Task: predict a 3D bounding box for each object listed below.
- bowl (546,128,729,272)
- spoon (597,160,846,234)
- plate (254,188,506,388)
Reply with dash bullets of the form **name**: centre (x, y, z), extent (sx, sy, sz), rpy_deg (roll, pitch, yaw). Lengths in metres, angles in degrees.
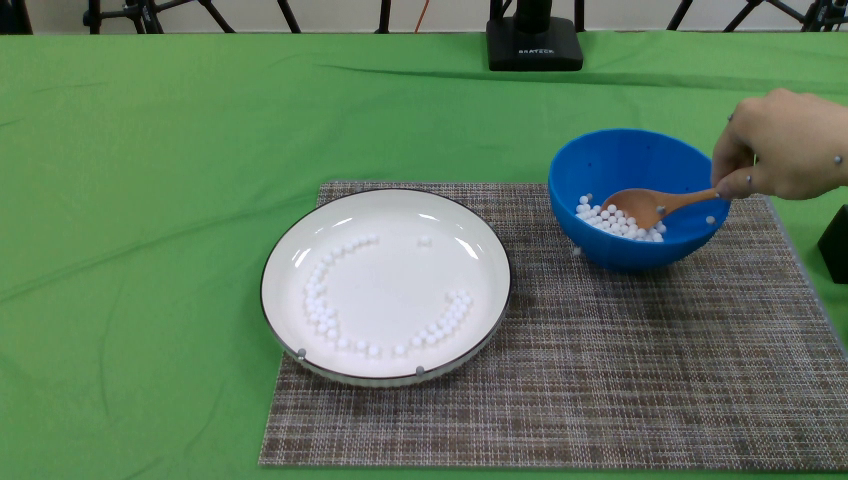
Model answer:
- **bowl**: centre (0.180, -0.024, 0.541), extent (0.151, 0.077, 0.150), rpy_deg (0, 47, 1)
- **spoon**: centre (0.229, -0.036, 0.492), extent (0.022, 0.193, 0.041), rpy_deg (0, 82, -40)
- **plate**: centre (-0.035, 0.038, 0.515), extent (0.208, 0.039, 0.205), rpy_deg (0, 47, 1)
